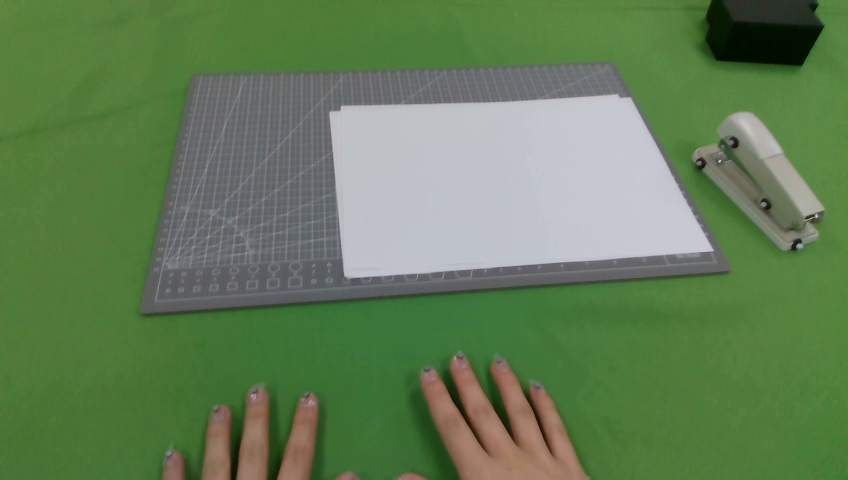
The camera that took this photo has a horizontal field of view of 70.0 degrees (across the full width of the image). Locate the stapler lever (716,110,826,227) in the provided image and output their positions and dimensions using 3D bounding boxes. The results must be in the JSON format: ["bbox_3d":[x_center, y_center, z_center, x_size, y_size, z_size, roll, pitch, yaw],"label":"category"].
[{"bbox_3d":[0.294,-0.064,0.515,0.027,0.040,0.117,-17,54,-14],"label":"stapler lever"}]

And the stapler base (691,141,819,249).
[{"bbox_3d":[0.292,-0.049,0.536,0.041,0.024,0.129,-17,54,-15],"label":"stapler base"}]
